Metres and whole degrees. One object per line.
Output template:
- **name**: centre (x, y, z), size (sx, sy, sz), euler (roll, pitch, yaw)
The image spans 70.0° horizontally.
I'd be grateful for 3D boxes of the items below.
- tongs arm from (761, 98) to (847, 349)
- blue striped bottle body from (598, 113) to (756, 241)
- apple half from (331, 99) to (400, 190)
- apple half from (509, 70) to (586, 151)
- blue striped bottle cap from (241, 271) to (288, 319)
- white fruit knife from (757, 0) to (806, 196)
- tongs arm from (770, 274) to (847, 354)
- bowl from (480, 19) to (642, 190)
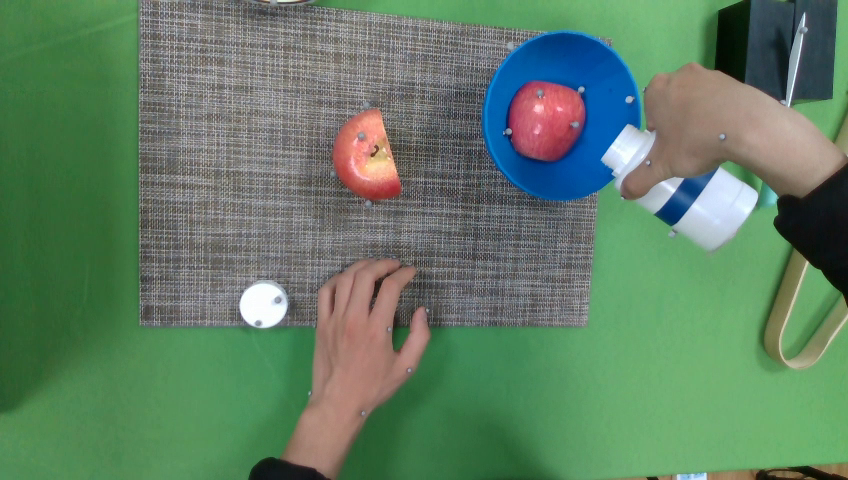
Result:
- **tongs arm**: centre (0.459, -0.063, 0.685), size (0.028, 0.027, 0.387), euler (18, 95, -15)
- **blue striped bottle body**: centre (0.208, -0.058, 0.513), size (0.120, 0.063, 0.063), euler (37, 89, 9)
- **apple half**: centre (-0.057, -0.082, 0.551), size (0.053, 0.074, 0.081), euler (-17, 104, -5)
- **apple half**: centre (0.121, -0.123, 0.573), size (0.081, 0.032, 0.081), euler (-1, 97, -10)
- **blue striped bottle cap**: centre (-0.153, 0.053, 0.580), size (0.045, 0.020, 0.044), euler (-2, 98, -13)
- **white fruit knife**: centre (0.370, -0.140, 0.625), size (0.016, 0.027, 0.209), euler (-1, 115, 6)
- **tongs arm**: centre (0.531, -0.027, 0.701), size (0.051, 0.026, 0.385), euler (31, 92, -13)
- **bowl**: centre (0.119, -0.124, 0.578), size (0.152, 0.076, 0.151), euler (-2, 99, -10)
